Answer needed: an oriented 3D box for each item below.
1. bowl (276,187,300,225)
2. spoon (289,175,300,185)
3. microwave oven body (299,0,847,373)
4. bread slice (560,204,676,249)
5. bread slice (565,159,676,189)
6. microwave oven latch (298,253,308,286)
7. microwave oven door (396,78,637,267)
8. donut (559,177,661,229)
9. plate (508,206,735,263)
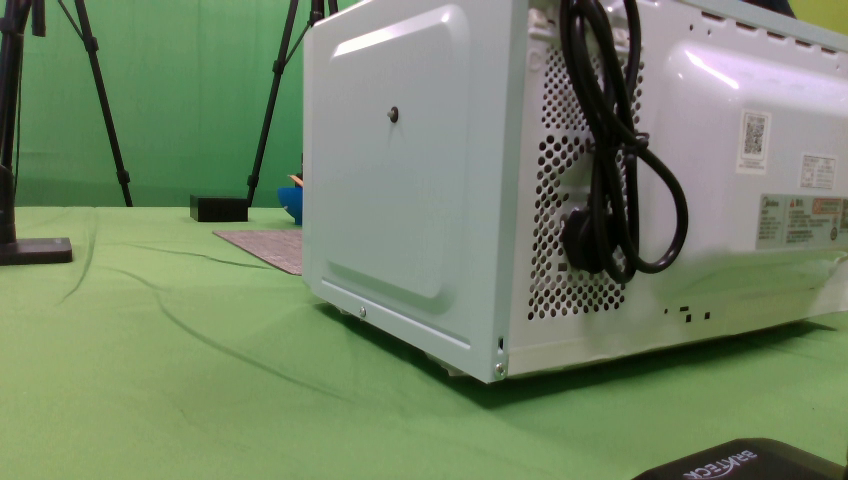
[{"bbox_3d":[-0.241,-0.073,1.302,0.151,0.077,0.151,2,7,0],"label":"bowl"},{"bbox_3d":[-0.261,-0.111,1.343,0.042,0.021,0.192,-8,33,-30],"label":"spoon"},{"bbox_3d":[0.152,-0.055,0.542,0.444,0.260,0.324,-2,7,-33],"label":"microwave oven body"},{"bbox_3d":[0.187,-0.014,0.578,0.107,0.018,0.134,-7,9,12],"label":"bread slice"},{"bbox_3d":[0.188,-0.063,0.577,0.104,0.019,0.132,8,6,16],"label":"bread slice"},{"bbox_3d":[-0.081,0.027,0.582,0.079,0.029,0.030,-1,7,-32],"label":"microwave oven latch"},{"bbox_3d":[0.115,-0.102,0.872,0.354,0.243,0.039,7,8,33],"label":"microwave oven door"},{"bbox_3d":[0.181,-0.035,0.591,0.099,0.048,0.099,7,11,-1],"label":"donut"},{"bbox_3d":[0.186,-0.007,0.589,0.208,0.039,0.207,2,7,0],"label":"plate"}]
